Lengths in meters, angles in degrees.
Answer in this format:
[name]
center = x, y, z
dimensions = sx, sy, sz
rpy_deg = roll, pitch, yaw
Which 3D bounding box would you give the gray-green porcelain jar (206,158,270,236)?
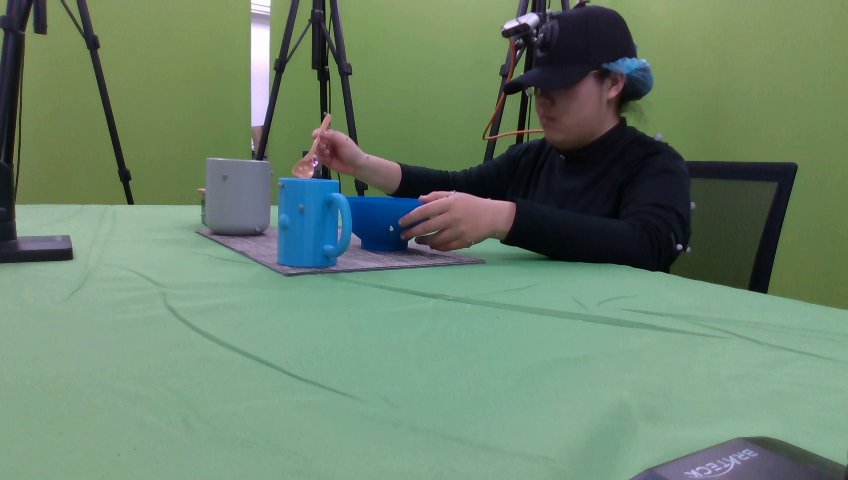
[gray-green porcelain jar]
center = -0.316, -0.074, 1.031
dimensions = 0.106, 0.126, 0.106
rpy_deg = 3, 7, 0

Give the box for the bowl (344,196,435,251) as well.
[bowl]
center = -0.061, -0.026, 0.943
dimensions = 0.151, 0.077, 0.151
rpy_deg = 3, 7, 0

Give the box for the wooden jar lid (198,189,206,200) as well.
[wooden jar lid]
center = -0.382, -0.088, 1.175
dimensions = 0.108, 0.020, 0.108
rpy_deg = 3, 8, 0

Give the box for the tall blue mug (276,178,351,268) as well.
[tall blue mug]
center = -0.133, -0.022, 0.767
dimensions = 0.107, 0.108, 0.078
rpy_deg = 4, 7, 12

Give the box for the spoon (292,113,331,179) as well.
[spoon]
center = -0.223, -0.196, 1.243
dimensions = 0.042, 0.193, 0.021
rpy_deg = 21, -32, -6
